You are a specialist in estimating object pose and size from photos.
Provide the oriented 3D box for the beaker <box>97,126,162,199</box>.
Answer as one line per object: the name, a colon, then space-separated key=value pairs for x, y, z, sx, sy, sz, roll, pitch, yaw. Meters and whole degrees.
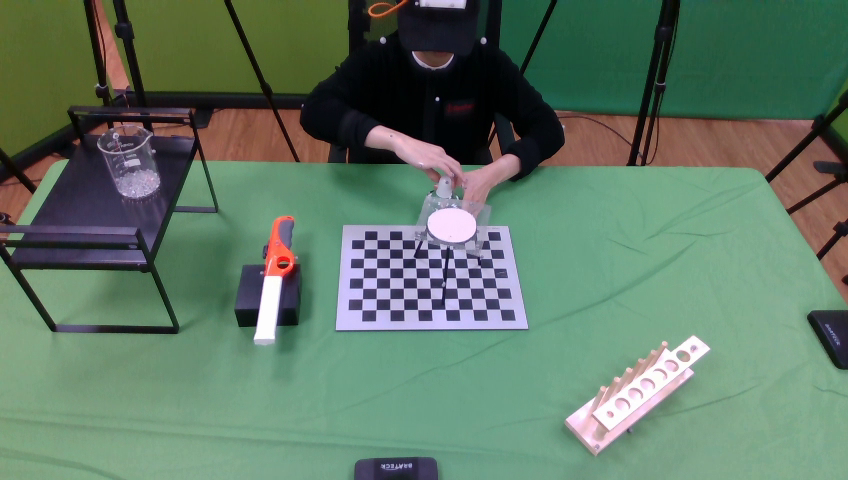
beaker: x=-0.468 y=-0.124 z=0.979 sx=0.084 sy=0.101 sz=0.073 roll=-25 pitch=53 yaw=-26

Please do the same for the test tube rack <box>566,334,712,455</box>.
test tube rack: x=0.338 y=0.228 z=0.951 sx=0.242 sy=0.085 sz=0.066 roll=-26 pitch=52 yaw=-26

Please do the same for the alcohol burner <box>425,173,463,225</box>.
alcohol burner: x=0.042 y=-0.088 z=1.220 sx=0.078 sy=0.119 sz=0.077 roll=4 pitch=46 yaw=-4

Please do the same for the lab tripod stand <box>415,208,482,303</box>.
lab tripod stand: x=0.043 y=0.018 z=1.097 sx=0.148 sy=0.132 sz=0.147 roll=1 pitch=46 yaw=0

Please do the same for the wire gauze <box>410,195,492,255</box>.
wire gauze: x=0.049 y=-0.031 z=1.051 sx=0.125 sy=0.011 sz=0.121 roll=12 pitch=47 yaw=9

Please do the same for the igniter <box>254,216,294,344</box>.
igniter: x=-0.258 y=0.059 z=1.051 sx=0.057 sy=0.025 sz=0.274 roll=2 pitch=47 yaw=-6

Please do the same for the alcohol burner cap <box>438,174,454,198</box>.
alcohol burner cap: x=0.045 y=-0.109 z=1.197 sx=0.034 sy=0.048 sz=0.033 roll=4 pitch=46 yaw=-4
